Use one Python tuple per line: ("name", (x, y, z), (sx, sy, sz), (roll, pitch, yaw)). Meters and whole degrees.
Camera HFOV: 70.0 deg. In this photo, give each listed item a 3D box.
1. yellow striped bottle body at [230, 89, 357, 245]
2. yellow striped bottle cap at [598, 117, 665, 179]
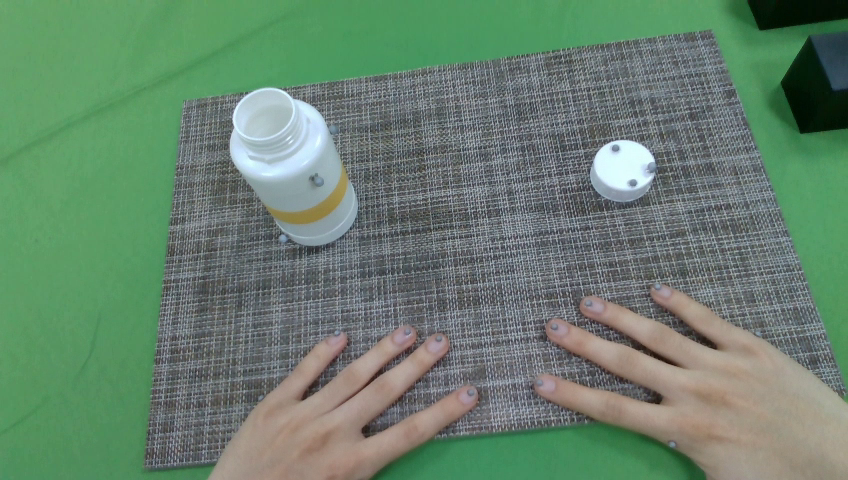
("yellow striped bottle body", (-0.088, -0.049, 0.411), (0.063, 0.121, 0.062), (-2, 64, 6))
("yellow striped bottle cap", (0.145, -0.064, 0.426), (0.044, 0.019, 0.044), (-5, 56, 8))
